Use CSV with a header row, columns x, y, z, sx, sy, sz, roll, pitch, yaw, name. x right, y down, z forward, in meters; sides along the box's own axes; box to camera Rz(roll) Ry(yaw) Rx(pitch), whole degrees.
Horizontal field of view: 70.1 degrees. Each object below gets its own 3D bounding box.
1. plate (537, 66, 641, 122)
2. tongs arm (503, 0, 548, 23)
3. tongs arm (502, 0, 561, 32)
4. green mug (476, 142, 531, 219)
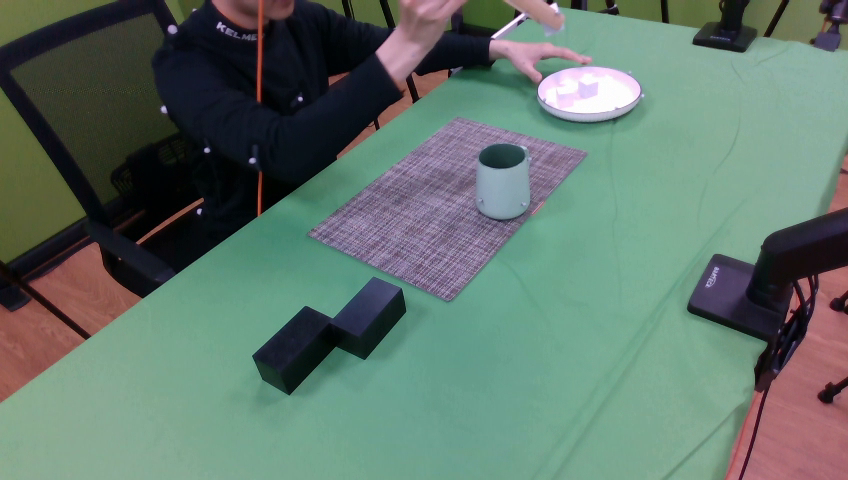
x,y,z,sx,sy,sz,roll,pitch,yaw,name
0.338,-0.299,1.255,0.209,0.038,0.208,-4,41,4,plate
0.043,-0.397,0.855,0.391,0.027,0.028,14,33,-37,tongs arm
0.053,-0.381,0.835,0.388,0.026,0.050,12,31,-40,tongs arm
0.139,-0.106,1.003,0.092,0.105,0.125,21,48,30,green mug
